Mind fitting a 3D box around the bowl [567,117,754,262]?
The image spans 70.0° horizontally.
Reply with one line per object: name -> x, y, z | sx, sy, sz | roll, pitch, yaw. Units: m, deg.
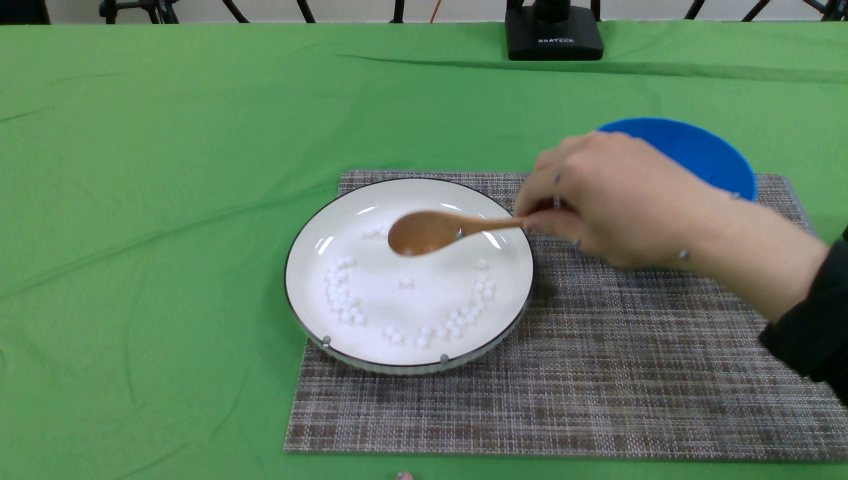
bowl -> 0.199, -0.033, 0.538 | 0.151, 0.077, 0.150 | -1, 47, 1

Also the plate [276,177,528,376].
plate -> -0.017, 0.029, 0.515 | 0.208, 0.039, 0.205 | -1, 47, 1

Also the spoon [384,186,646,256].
spoon -> 0.062, -0.015, 0.446 | 0.193, 0.042, 0.021 | -7, 30, 19
